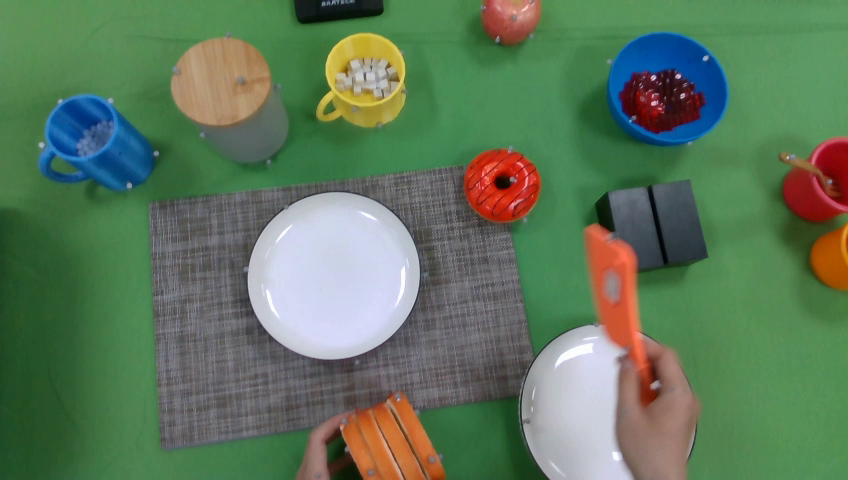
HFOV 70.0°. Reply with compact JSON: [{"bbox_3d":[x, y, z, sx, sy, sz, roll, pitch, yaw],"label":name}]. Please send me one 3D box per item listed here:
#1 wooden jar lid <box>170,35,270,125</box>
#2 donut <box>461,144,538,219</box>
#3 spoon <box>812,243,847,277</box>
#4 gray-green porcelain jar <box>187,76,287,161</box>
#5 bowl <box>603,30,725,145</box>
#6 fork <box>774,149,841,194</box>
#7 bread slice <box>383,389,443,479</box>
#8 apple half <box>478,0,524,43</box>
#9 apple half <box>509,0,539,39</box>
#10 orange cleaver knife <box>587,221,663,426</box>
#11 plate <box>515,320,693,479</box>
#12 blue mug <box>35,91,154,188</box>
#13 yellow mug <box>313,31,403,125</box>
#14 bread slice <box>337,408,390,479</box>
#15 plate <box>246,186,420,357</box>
[{"bbox_3d":[-0.225,-0.176,0.675,0.108,0.021,0.108,0,75,-1],"label":"wooden jar lid"},{"bbox_3d":[0.095,-0.074,0.767,0.099,0.048,0.098,1,78,-3],"label":"donut"},{"bbox_3d":[0.571,0.003,0.720,0.022,0.193,0.041,5,68,-46],"label":"spoon"},{"bbox_3d":[-0.227,-0.161,0.736,0.106,0.127,0.105,1,77,-2],"label":"gray-green porcelain jar"},{"bbox_3d":[0.298,-0.184,0.786,0.151,0.077,0.150,0,78,-2],"label":"bowl"},{"bbox_3d":[0.469,-0.083,0.736,0.209,0.018,0.028,10,73,-43],"label":"fork"},{"bbox_3d":[-0.013,0.213,0.654,0.018,0.134,0.106,-28,81,-13],"label":"bread slice"},{"bbox_3d":[0.094,-0.288,0.802,0.033,0.081,0.081,-40,81,-15],"label":"apple half"},{"bbox_3d":[0.122,-0.313,0.810,0.053,0.075,0.080,-39,77,-15],"label":"apple half"},{"bbox_3d":[0.197,0.083,0.599,0.012,0.076,0.212,-21,106,-14],"label":"orange cleaver knife"},{"bbox_3d":[0.209,0.200,0.718,0.209,0.038,0.208,1,77,-2],"label":"plate"},{"bbox_3d":[-0.401,-0.109,0.727,0.116,0.106,0.082,-33,80,-9],"label":"blue mug"},{"bbox_3d":[-0.089,-0.198,0.781,0.131,0.064,0.099,-39,81,-9],"label":"yellow mug"},{"bbox_3d":[-0.063,0.232,0.651,0.019,0.132,0.104,-28,80,-9],"label":"bread slice"},{"bbox_3d":[-0.108,0.039,0.737,0.208,0.039,0.206,1,78,-2],"label":"plate"}]
